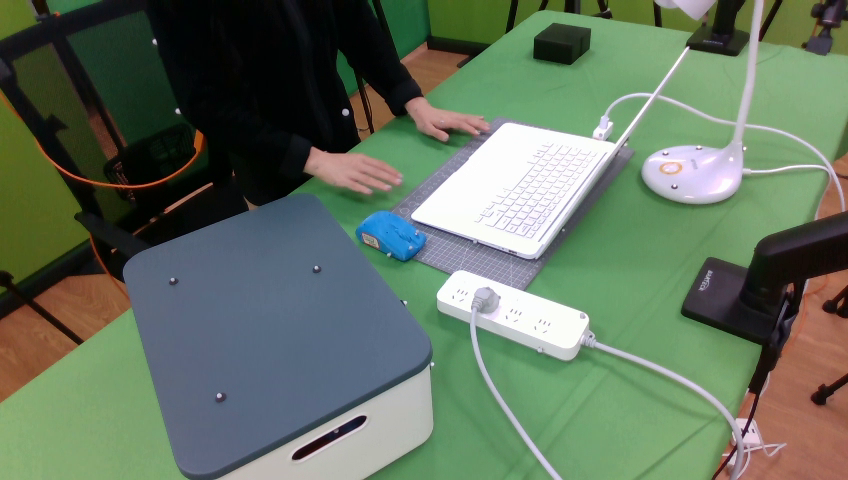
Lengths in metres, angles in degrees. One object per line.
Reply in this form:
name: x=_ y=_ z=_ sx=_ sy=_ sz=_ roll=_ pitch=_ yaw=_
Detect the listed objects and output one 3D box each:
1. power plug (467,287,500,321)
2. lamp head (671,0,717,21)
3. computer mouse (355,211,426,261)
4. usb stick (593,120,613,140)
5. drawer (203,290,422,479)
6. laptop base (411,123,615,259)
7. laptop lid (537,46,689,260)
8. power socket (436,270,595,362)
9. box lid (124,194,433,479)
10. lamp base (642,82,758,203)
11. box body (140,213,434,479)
power plug: x=0.073 y=0.092 z=0.814 sx=0.035 sy=0.053 sz=0.073 roll=29 pitch=54 yaw=34
lamp head: x=0.375 y=-0.373 z=0.807 sx=0.122 sy=0.113 sz=0.112 roll=-40 pitch=27 yaw=32
computer mouse: x=-0.055 y=-0.010 z=0.979 sx=0.116 sy=0.041 sz=0.063 roll=27 pitch=49 yaw=28
usb stick: x=0.336 y=-0.201 z=1.146 sx=0.021 sy=0.027 sz=0.059 roll=26 pitch=53 yaw=27
drawer: x=-0.136 y=0.188 z=0.740 sx=0.195 sy=0.073 sz=0.210 roll=-24 pitch=52 yaw=-22
laptop base: x=0.168 y=-0.101 z=1.073 sx=0.234 sy=0.023 sz=0.355 roll=17 pitch=46 yaw=30
laptop lid: x=0.293 y=-0.136 z=0.927 sx=0.013 sy=0.241 sz=0.357 roll=35 pitch=51 yaw=10
power socket: x=0.118 y=0.101 z=0.832 sx=0.225 sy=0.033 sz=0.072 roll=19 pitch=48 yaw=27
box lid: x=-0.182 y=0.076 z=0.689 sx=0.264 sy=0.015 sz=0.368 roll=-24 pitch=42 yaw=-20
lamp base: x=0.464 y=-0.174 z=0.992 sx=0.179 sy=0.181 sz=0.159 roll=-5 pitch=41 yaw=-1
box body: x=-0.175 y=0.131 z=0.738 sx=0.255 sy=0.161 sz=0.360 roll=-25 pitch=43 yaw=-19
